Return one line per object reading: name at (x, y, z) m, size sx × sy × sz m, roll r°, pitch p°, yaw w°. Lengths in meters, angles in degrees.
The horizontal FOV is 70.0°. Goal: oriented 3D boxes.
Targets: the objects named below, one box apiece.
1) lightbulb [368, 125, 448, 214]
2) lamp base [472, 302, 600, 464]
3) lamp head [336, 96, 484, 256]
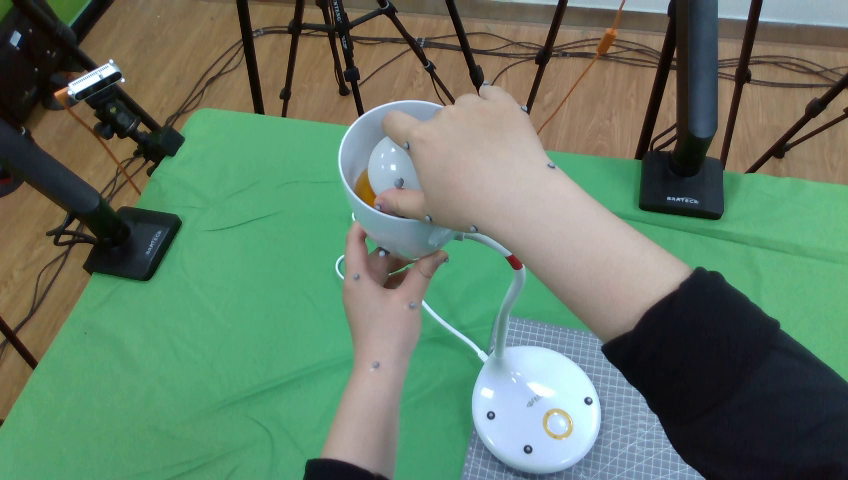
lightbulb at (-0.009, -0.046, 0.474) m, size 0.059 × 0.108 × 0.059 m, roll -2°, pitch 68°, yaw 5°
lamp base at (0.124, 0.153, 0.706) m, size 0.177 × 0.182 × 0.160 m, roll 33°, pitch 66°, yaw 27°
lamp head at (-0.007, -0.038, 0.498) m, size 0.112 × 0.124 × 0.111 m, roll -2°, pitch 61°, yaw 3°
